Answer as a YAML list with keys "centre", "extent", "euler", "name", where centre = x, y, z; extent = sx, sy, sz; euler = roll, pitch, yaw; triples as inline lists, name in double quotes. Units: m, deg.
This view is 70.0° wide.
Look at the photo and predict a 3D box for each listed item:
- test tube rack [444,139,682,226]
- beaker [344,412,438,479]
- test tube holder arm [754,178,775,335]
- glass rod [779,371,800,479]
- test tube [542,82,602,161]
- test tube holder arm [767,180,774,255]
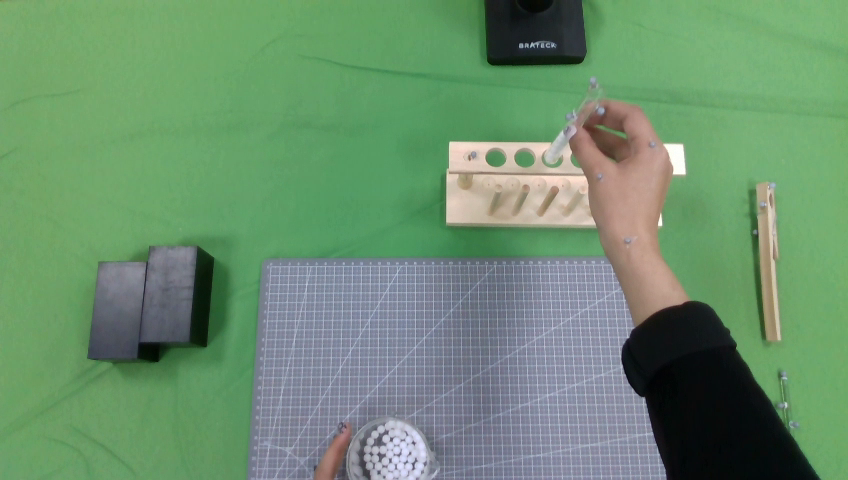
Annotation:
- centre: [0.145, -0.061, 0.660]
  extent: [0.242, 0.085, 0.066]
  euler: [1, 75, 0]
  name: "test tube rack"
- centre: [-0.029, 0.203, 0.579]
  extent: [0.084, 0.101, 0.073]
  euler: [8, 75, 1]
  name: "beaker"
- centre: [0.379, 0.017, 0.674]
  extent: [0.013, 0.015, 0.177]
  euler: [14, 74, -29]
  name: "test tube holder arm"
- centre: [0.381, 0.236, 0.623]
  extent: [0.008, 0.008, 0.198]
  euler: [1, 75, 0]
  name: "glass rod"
- centre: [0.132, -0.103, 0.555]
  extent: [0.017, 0.150, 0.017]
  euler: [1, 77, -3]
  name: "test tube"
- centre: [0.388, -0.025, 0.687]
  extent: [0.010, 0.015, 0.087]
  euler: [15, 74, -29]
  name: "test tube holder arm"
